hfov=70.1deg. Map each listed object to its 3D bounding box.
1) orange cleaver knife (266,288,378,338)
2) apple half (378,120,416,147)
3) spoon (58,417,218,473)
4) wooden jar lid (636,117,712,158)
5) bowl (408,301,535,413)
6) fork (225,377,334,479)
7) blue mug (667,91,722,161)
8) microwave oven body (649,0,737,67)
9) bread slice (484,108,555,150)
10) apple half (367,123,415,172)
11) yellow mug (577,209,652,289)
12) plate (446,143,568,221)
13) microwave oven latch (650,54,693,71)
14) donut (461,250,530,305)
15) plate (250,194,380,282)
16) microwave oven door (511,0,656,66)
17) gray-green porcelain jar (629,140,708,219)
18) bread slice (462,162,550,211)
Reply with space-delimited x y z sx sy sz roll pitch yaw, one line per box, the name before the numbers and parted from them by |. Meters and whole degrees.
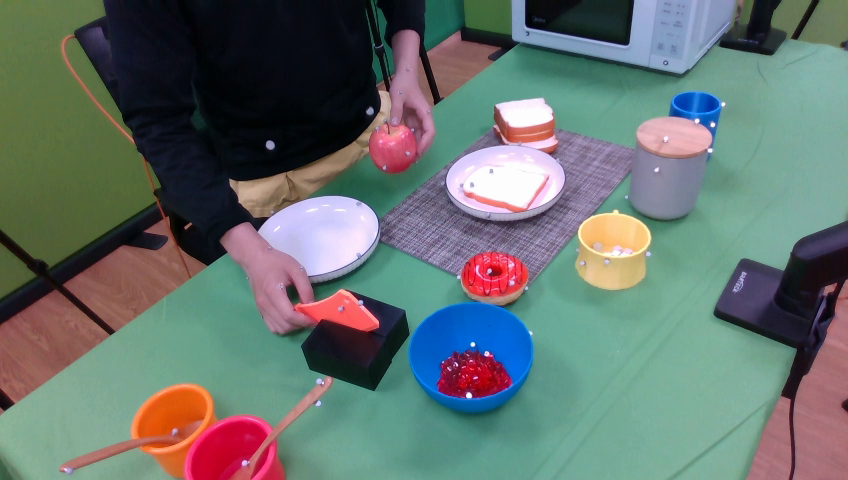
orange cleaver knife | -0.143 0.104 0.824 0.210 0.077 0.012 -12 29 44
apple half | -0.044 -0.170 1.021 0.081 0.081 0.033 11 40 20
spoon | -0.304 0.221 0.661 0.041 0.195 0.021 19 92 27
wooden jar lid | 0.377 -0.151 0.917 0.108 0.021 0.108 -2 41 3
bowl | 0.060 0.156 0.739 0.151 0.077 0.150 -4 40 4
fork | -0.163 0.216 0.646 0.207 0.019 0.028 -49 42 16
blue mug | 0.474 -0.207 1.079 0.082 0.106 0.116 4 42 13
microwave oven body | 0.475 -0.602 1.411 0.438 0.261 0.327 23 50 32
bread slice | 0.187 -0.203 1.162 0.105 0.019 0.130 -21 43 -6
apple half | -0.059 -0.147 0.994 0.080 0.075 0.053 16 44 16
yellow mug | 0.279 0.004 0.893 0.099 0.064 0.130 5 41 15
plate | 0.142 -0.096 1.045 0.207 0.039 0.206 -4 40 4
microwave oven latch | 0.531 -0.386 1.301 0.078 0.029 0.030 26 51 33
donut | 0.103 0.053 0.872 0.099 0.048 0.098 -4 40 4
plate | -0.174 -0.001 0.984 0.209 0.038 0.208 -3 40 3
microwave oven door | 0.351 -0.539 1.348 0.353 0.245 0.039 24 50 31
gray-green porcelain jar | 0.383 -0.105 0.958 0.106 0.127 0.105 -4 41 4
bread slice | 0.135 -0.094 1.044 0.133 0.018 0.107 15 44 23
